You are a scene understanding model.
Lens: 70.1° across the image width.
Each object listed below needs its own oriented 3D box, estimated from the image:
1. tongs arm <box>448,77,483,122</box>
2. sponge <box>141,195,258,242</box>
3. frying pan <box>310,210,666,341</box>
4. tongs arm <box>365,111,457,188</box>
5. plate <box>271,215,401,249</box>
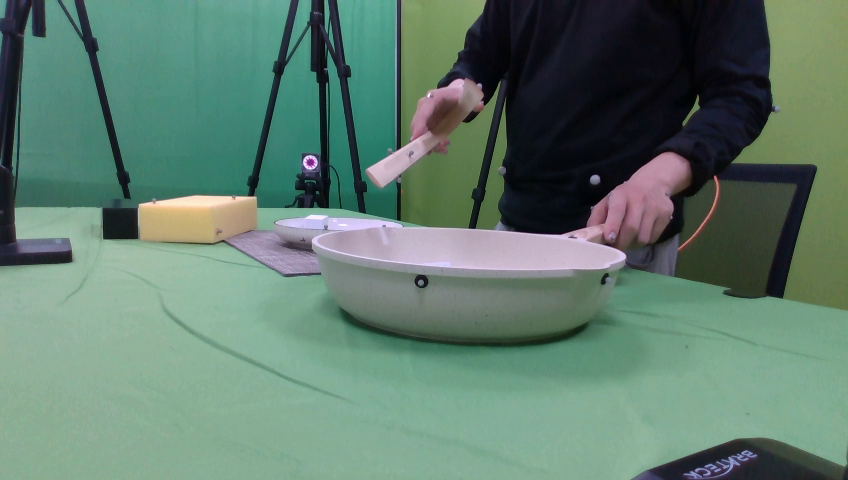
[{"bbox_3d":[0.050,-0.174,0.764,0.028,0.028,0.387,43,7,-5],"label":"tongs arm"},{"bbox_3d":[-0.380,-0.040,1.047,0.118,0.061,0.207,1,8,3],"label":"sponge"},{"bbox_3d":[0.120,0.011,0.643,0.490,0.102,0.305,-13,16,-36],"label":"frying pan"},{"bbox_3d":[-0.004,-0.128,0.782,0.026,0.050,0.385,46,18,-5],"label":"tongs arm"},{"bbox_3d":[-0.141,-0.012,0.978,0.208,0.039,0.207,2,7,0],"label":"plate"}]
